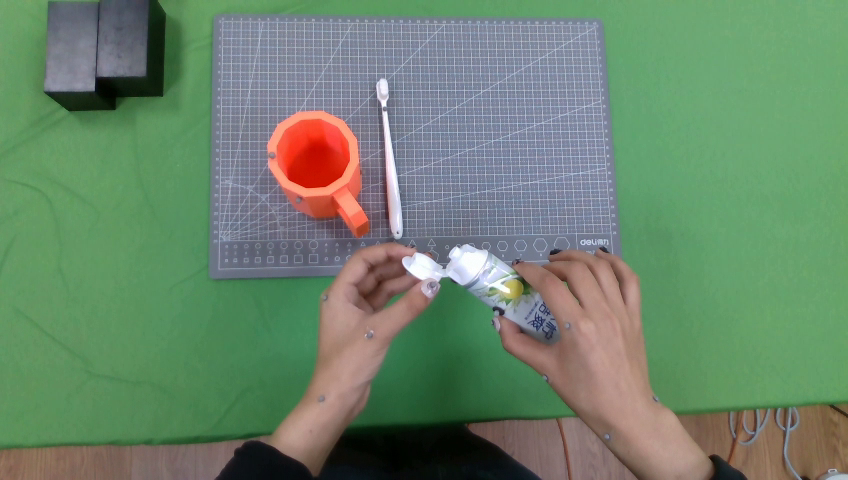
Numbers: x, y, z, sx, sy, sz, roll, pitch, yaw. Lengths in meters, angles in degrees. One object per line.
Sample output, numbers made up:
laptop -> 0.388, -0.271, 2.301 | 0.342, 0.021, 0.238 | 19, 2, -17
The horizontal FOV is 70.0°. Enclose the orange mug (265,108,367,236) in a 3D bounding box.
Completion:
orange mug -> -0.100, -0.062, 0.617 | 0.083, 0.101, 0.126 | -36, 81, -9

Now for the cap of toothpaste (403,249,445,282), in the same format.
cap of toothpaste -> 0.001, 0.019, 0.482 | 0.037, 0.037, 0.011 | 29, 114, 0

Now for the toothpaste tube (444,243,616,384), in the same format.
toothpaste tube -> 0.083, 0.056, 0.496 | 0.166, 0.034, 0.055 | 35, 90, -13

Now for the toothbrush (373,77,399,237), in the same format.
toothbrush -> -0.041, -0.094, 0.668 | 0.014, 0.016, 0.181 | -4, 83, -20
